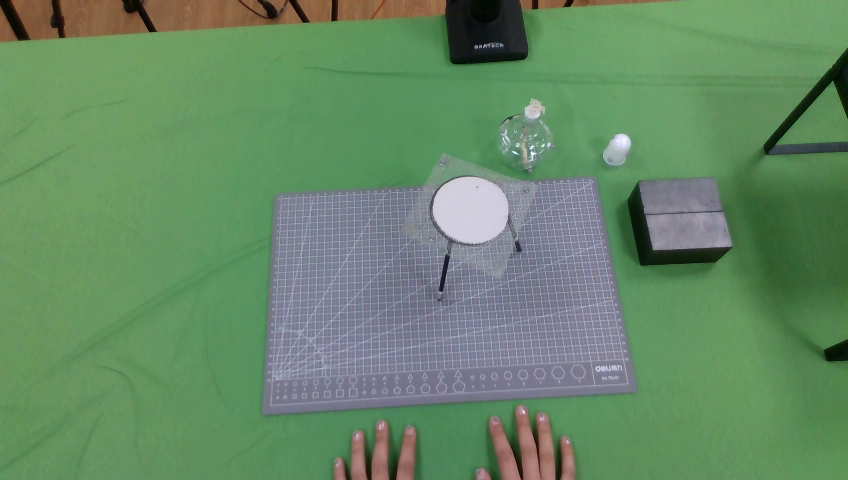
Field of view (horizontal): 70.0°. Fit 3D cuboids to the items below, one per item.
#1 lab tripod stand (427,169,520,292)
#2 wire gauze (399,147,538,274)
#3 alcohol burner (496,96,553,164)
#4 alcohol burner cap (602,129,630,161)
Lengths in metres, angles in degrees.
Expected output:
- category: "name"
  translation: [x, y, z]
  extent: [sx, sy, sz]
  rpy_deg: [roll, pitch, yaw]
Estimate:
- category: "lab tripod stand"
  translation: [0.053, -0.018, 0.743]
  extent: [0.148, 0.132, 0.147]
  rpy_deg: [0, 65, 0]
- category: "wire gauze"
  translation: [0.051, -0.039, 0.679]
  extent: [0.125, 0.011, 0.121]
  rpy_deg: [24, 69, 9]
- category: "alcohol burner"
  translation: [0.138, -0.154, 0.814]
  extent: [0.078, 0.120, 0.077]
  rpy_deg: [0, 66, -1]
- category: "alcohol burner cap"
  translation: [0.270, -0.135, 0.844]
  extent: [0.034, 0.048, 0.033]
  rpy_deg: [-1, 66, 2]
